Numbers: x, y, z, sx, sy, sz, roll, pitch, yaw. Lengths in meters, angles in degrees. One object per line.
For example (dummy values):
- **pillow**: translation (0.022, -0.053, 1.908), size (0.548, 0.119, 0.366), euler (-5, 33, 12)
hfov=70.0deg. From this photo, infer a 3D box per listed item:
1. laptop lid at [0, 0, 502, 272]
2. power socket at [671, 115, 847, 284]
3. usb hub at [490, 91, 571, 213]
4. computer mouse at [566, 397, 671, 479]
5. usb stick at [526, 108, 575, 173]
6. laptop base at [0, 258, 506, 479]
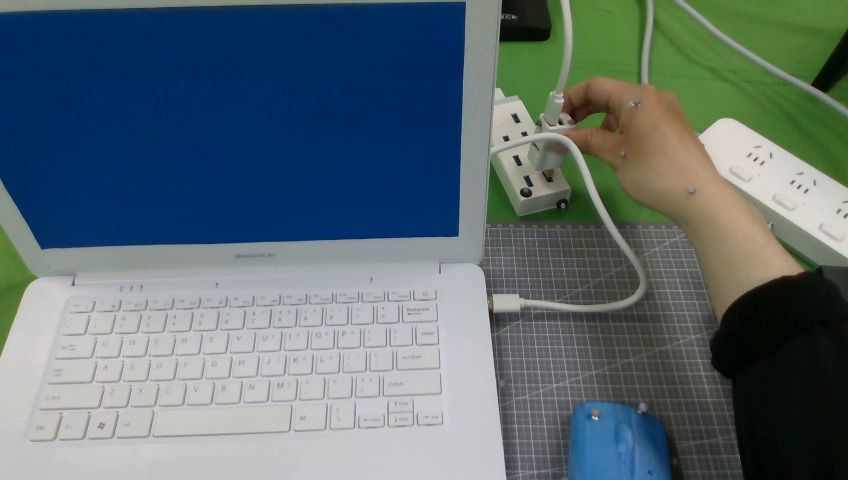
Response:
- **laptop lid**: translation (-0.130, -0.065, 0.402), size (0.357, 0.244, 0.013), euler (-3, 42, -1)
- **power socket**: translation (0.323, -0.031, 0.518), size (0.072, 0.033, 0.225), euler (-36, 63, -23)
- **usb hub**: translation (0.086, -0.084, 0.554), size (0.049, 0.025, 0.124), euler (-14, 57, -9)
- **computer mouse**: translation (0.121, 0.153, 0.382), size (0.062, 0.041, 0.116), euler (9, 52, 9)
- **usb stick**: translation (0.103, -0.079, 0.502), size (0.027, 0.059, 0.021), euler (-12, 53, -14)
- **laptop base**: translation (-0.125, 0.121, 0.417), size (0.354, 0.023, 0.233), euler (-2, 59, -2)
